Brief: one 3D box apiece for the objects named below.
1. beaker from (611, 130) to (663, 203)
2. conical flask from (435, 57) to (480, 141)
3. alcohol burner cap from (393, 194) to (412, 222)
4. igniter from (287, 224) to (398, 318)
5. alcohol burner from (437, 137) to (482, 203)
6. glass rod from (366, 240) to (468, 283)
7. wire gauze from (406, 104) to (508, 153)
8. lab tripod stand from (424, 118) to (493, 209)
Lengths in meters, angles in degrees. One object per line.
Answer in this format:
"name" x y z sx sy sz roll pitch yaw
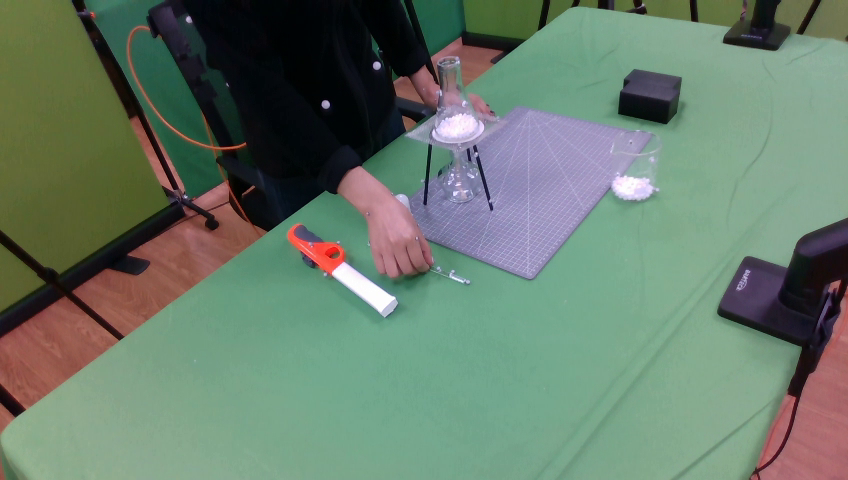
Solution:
"beaker" 0.346 -0.118 0.998 0.084 0.101 0.073 -17 40 -7
"conical flask" 0.046 -0.225 0.955 0.075 0.122 0.075 -7 39 6
"alcohol burner cap" -0.039 -0.057 1.039 0.034 0.048 0.033 -5 39 5
"igniter" -0.139 0.042 0.958 0.057 0.025 0.274 -42 49 -19
"alcohol burner" 0.060 -0.125 1.045 0.078 0.119 0.077 -5 39 4
"glass rod" -0.015 0.032 0.959 0.198 0.008 0.008 21 49 30
"wire gauze" 0.054 -0.183 0.997 0.120 0.011 0.125 25 53 38
"lab tripod stand" 0.061 -0.133 1.039 0.148 0.132 0.147 -6 39 6
